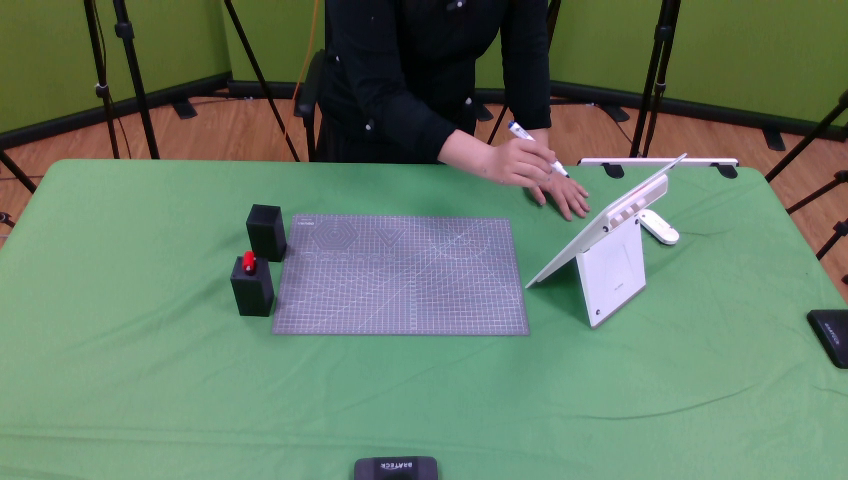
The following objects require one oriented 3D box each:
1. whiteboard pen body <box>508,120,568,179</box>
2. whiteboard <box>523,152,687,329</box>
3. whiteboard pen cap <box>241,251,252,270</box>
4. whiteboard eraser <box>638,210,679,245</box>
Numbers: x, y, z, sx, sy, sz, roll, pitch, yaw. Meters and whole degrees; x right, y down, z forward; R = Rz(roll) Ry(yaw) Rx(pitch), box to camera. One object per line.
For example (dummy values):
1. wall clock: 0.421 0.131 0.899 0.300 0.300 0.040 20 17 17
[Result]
1. whiteboard pen body: 0.197 -0.152 1.037 0.141 0.017 0.017 43 50 -6
2. whiteboard: 0.346 0.025 1.046 0.217 0.306 0.143 -30 74 -29
3. whiteboard pen cap: -0.294 0.033 1.006 0.017 0.017 0.032 -3 44 -7
4. whiteboard eraser: 0.485 -0.026 1.260 0.041 0.019 0.100 -21 50 -21
